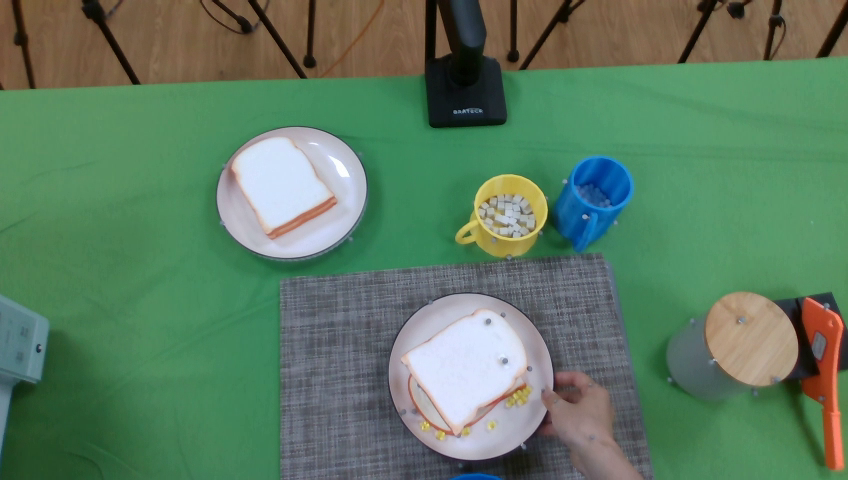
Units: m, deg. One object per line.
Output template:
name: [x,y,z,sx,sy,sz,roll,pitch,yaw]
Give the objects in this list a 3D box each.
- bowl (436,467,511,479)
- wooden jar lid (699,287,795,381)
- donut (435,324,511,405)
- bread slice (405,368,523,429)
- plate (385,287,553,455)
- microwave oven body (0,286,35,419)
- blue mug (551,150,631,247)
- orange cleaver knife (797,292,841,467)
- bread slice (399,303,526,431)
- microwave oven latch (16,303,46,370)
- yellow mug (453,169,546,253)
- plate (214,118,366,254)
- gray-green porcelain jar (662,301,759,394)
bowl: [0.053,0.334,0.678,0.151,0.077,0.150,1,69,-2]
wooden jar lid: [0.363,0.107,0.687,0.108,0.021,0.107,2,71,-4]
donut: [0.060,0.151,0.736,0.099,0.048,0.098,8,63,-16]
bread slice: [0.045,0.171,0.759,0.131,0.019,0.104,-35,71,-16]
plate: [0.055,0.162,0.761,0.209,0.038,0.207,0,68,0]
microwave oven body: [-0.620,0.252,0.578,0.326,0.261,0.438,-2,69,-4]
blue mug: [0.220,-0.046,0.821,0.082,0.106,0.116,15,68,4]
orange cleaver knife: [0.493,0.173,0.758,0.012,0.077,0.211,-6,95,-4]
bread slice: [0.051,0.137,0.708,0.134,0.018,0.106,-36,77,-20]
microwave oven latch: [-0.486,0.118,0.741,0.030,0.029,0.078,0,69,-3]
yellow mug: [0.098,-0.033,0.832,0.131,0.064,0.099,-24,71,-10]
plate: [-0.185,-0.074,0.851,0.208,0.039,0.206,1,68,-2]
gray-green porcelain jar: [0.362,0.131,0.745,0.106,0.127,0.105,1,68,-2]
